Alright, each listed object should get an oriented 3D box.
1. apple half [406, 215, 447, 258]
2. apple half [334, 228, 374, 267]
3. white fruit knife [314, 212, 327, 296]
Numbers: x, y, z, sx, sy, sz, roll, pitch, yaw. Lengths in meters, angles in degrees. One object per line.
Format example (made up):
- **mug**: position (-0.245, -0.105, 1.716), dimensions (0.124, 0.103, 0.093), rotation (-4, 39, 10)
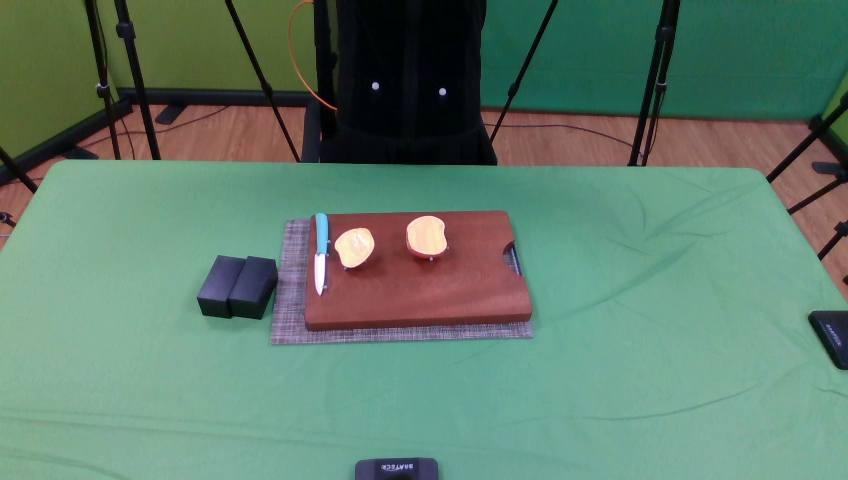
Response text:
- **apple half**: position (0.002, -0.001, 1.136), dimensions (0.075, 0.053, 0.080), rotation (-6, 70, -14)
- **apple half**: position (-0.123, 0.017, 1.120), dimensions (0.081, 0.033, 0.081), rotation (-8, 62, 15)
- **white fruit knife**: position (-0.192, 0.023, 1.129), dimensions (0.027, 0.016, 0.206), rotation (-22, 47, 16)
